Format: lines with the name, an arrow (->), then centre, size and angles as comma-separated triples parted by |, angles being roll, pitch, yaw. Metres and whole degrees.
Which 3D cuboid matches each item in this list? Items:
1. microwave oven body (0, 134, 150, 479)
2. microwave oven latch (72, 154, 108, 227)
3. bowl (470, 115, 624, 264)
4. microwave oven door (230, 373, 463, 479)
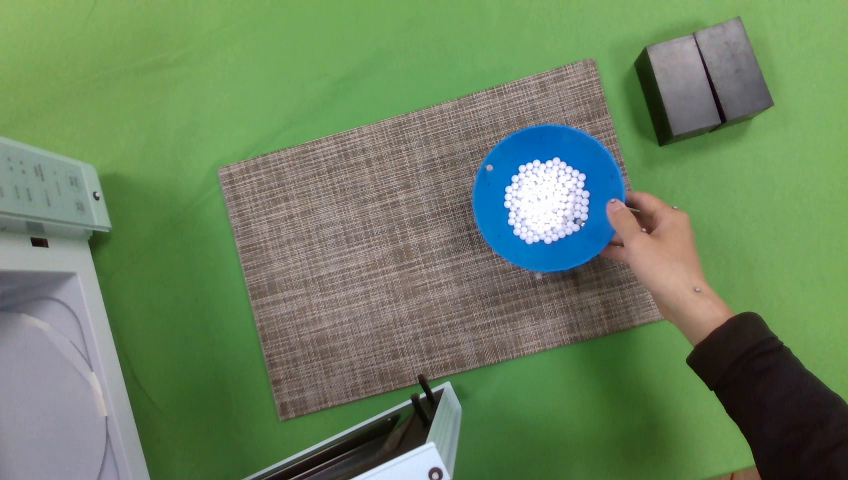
microwave oven body -> -0.486, 0.153, 0.591 | 0.326, 0.260, 0.441 | -18, 87, 3
microwave oven latch -> -0.388, -0.055, 0.688 | 0.030, 0.029, 0.079 | -18, 87, 3
bowl -> 0.127, -0.047, 0.637 | 0.151, 0.077, 0.151 | -1, 86, 9
microwave oven door -> -0.133, 0.234, 0.555 | 0.356, 0.244, 0.039 | -27, 85, 3
